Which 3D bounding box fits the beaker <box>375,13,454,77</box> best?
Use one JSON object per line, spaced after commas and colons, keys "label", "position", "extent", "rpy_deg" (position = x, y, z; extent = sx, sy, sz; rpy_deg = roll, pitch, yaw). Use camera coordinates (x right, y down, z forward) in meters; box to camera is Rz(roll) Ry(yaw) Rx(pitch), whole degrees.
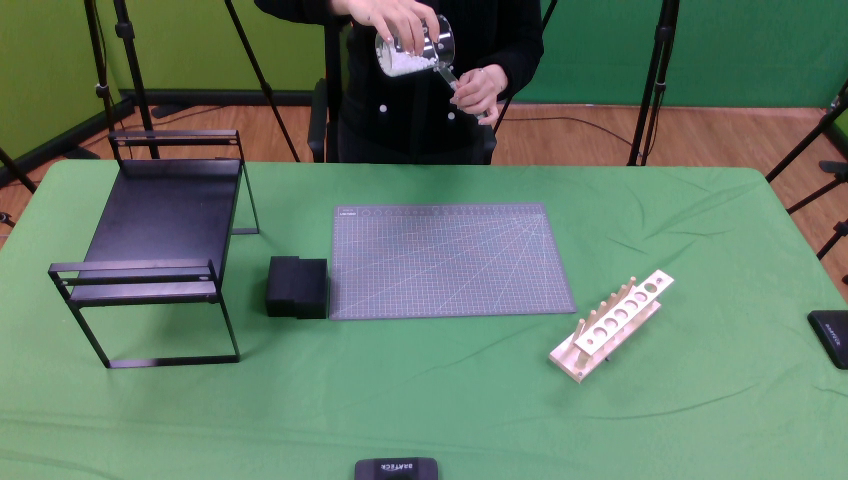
{"label": "beaker", "position": [-0.016, -0.285, 0.900], "extent": [0.100, 0.084, 0.073], "rpy_deg": [-19, 47, -19]}

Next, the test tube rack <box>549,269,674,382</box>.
{"label": "test tube rack", "position": [0.325, 0.134, 1.047], "extent": [0.242, 0.085, 0.066], "rpy_deg": [-32, 56, -30]}

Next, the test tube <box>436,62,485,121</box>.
{"label": "test tube", "position": [0.063, -0.241, 0.997], "extent": [0.017, 0.151, 0.017], "rpy_deg": [-16, 58, 28]}
